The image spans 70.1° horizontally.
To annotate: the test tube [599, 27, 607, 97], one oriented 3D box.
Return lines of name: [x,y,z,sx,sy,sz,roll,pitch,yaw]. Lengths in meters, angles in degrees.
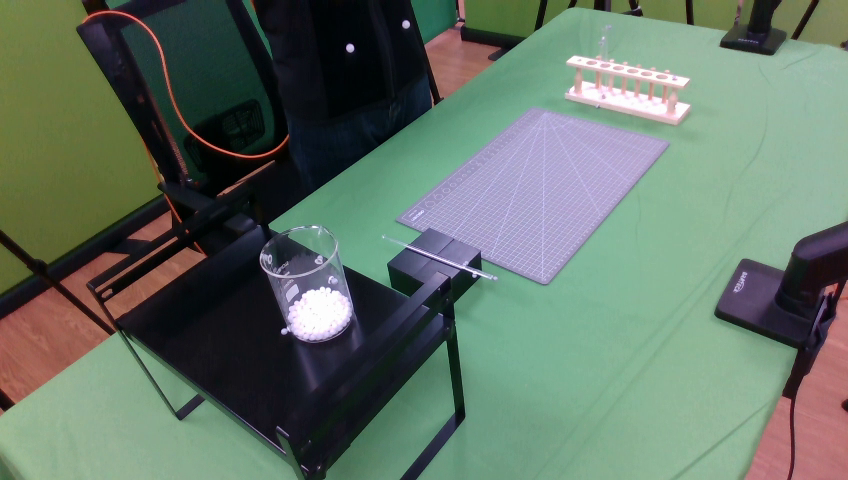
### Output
test tube: [0.358,-0.353,1.210,0.017,0.151,0.017,-8,43,8]

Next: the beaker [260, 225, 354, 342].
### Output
beaker: [-0.111,0.045,0.601,0.073,0.101,0.084,7,42,17]

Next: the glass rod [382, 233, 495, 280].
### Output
glass rod: [0.017,0.023,0.882,0.198,0.008,0.008,21,48,29]

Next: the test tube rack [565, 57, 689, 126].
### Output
test tube rack: [0.412,-0.311,1.230,0.240,0.085,0.067,24,49,32]
